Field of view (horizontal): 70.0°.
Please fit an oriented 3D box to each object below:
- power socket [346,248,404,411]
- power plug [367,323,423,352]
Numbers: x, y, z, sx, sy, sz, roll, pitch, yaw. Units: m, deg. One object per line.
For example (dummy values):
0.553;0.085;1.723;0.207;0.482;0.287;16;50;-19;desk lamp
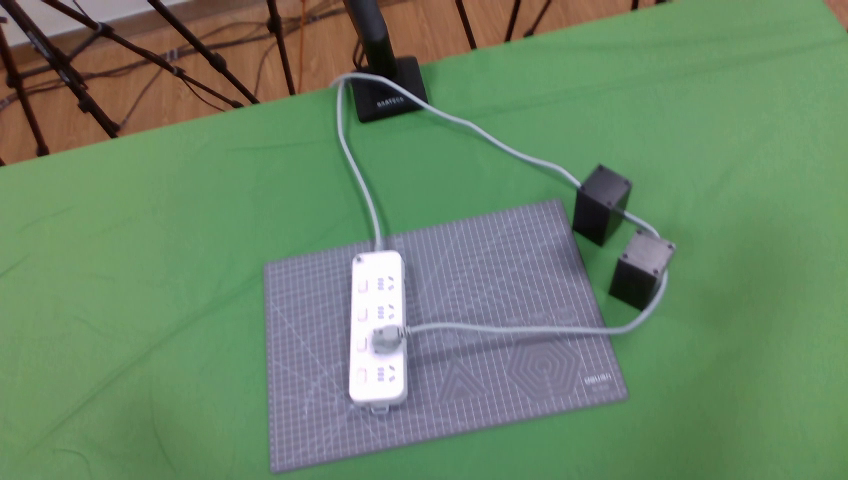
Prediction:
-0.066;0.111;0.808;0.072;0.033;0.224;-5;60;5;power socket
-0.038;0.128;0.774;0.072;0.053;0.035;4;62;8;power plug
